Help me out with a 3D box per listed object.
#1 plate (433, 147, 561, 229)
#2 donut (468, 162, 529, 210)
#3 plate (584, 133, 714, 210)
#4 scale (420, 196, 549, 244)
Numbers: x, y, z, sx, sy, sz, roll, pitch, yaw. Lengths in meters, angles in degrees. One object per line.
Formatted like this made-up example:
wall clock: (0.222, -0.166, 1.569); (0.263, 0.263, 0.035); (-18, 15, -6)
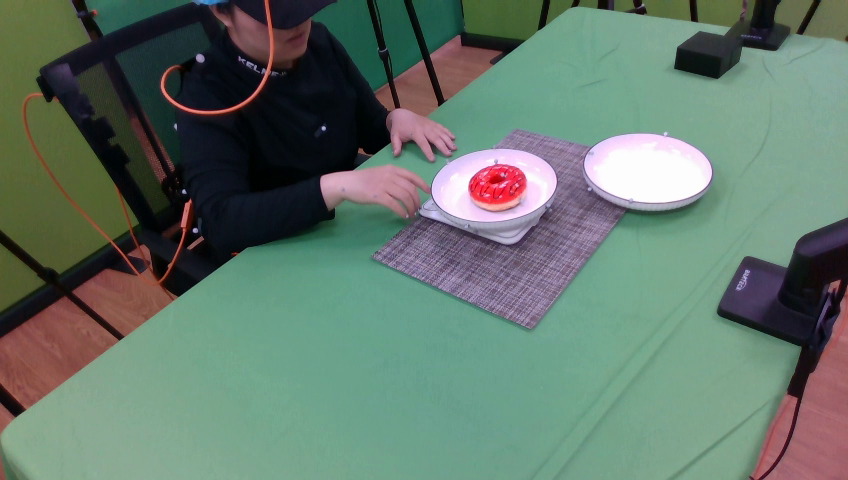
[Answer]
plate: (0.120, -0.082, 0.996); (0.207, 0.039, 0.206); (-6, 40, 5)
donut: (0.121, -0.088, 0.985); (0.099, 0.048, 0.098); (-7, 42, 7)
plate: (0.379, -0.113, 1.030); (0.209, 0.038, 0.208); (-4, 41, 4)
scale: (0.106, -0.064, 1.029); (0.199, 0.032, 0.149); (21, 48, 32)
